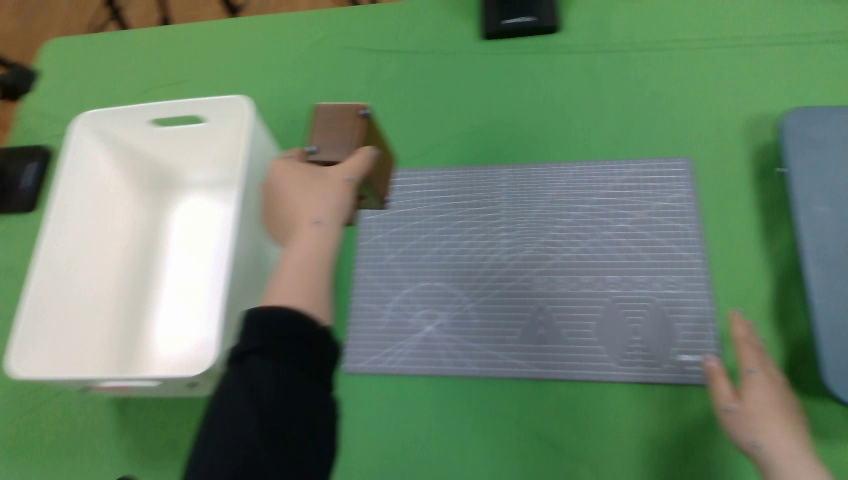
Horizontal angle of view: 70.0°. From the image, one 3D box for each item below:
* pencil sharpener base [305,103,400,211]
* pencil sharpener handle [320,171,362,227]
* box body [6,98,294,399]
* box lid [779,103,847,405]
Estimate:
[{"bbox_3d":[-0.072,-0.081,0.631,0.061,0.108,0.076,3,68,15],"label":"pencil sharpener base"},{"bbox_3d":[-0.081,-0.039,0.602,0.036,0.068,0.030,1,67,21],"label":"pencil sharpener handle"},{"bbox_3d":[-0.323,0.019,0.786,0.254,0.162,0.361,-3,65,9],"label":"box body"},{"bbox_3d":[0.551,0.000,0.661,0.263,0.015,0.369,1,66,11],"label":"box lid"}]
